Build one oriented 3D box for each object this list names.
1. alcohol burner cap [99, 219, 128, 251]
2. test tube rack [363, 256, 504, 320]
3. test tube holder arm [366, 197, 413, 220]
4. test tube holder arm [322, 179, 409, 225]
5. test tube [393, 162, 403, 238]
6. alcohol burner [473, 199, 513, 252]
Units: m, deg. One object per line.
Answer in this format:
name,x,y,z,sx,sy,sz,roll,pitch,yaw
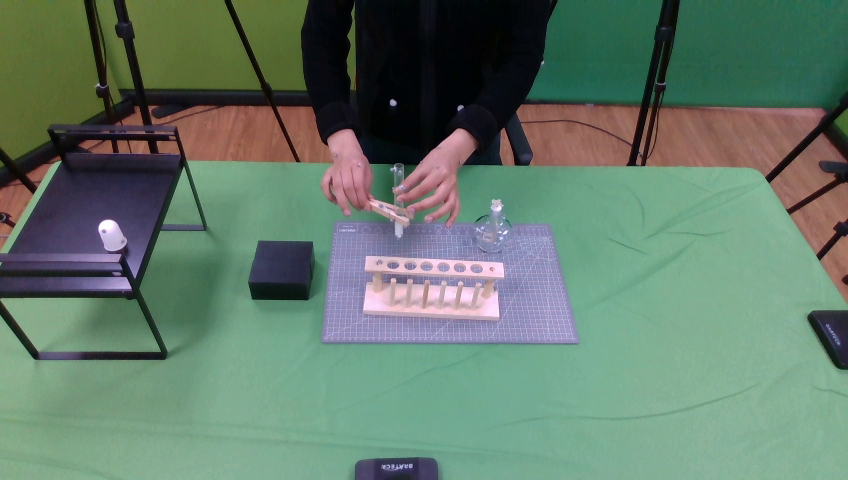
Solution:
alcohol burner cap,-0.467,-0.010,0.907,0.034,0.048,0.033,2,47,-2
test tube rack,0.015,0.085,1.069,0.242,0.085,0.066,3,46,-2
test tube holder arm,-0.060,-0.054,1.026,0.087,0.015,0.010,17,45,12
test tube holder arm,-0.102,-0.066,1.034,0.178,0.015,0.013,24,46,18
test tube,-0.042,-0.062,1.001,0.017,0.151,0.017,1,41,-1
alcohol burner,0.135,-0.034,1.174,0.078,0.120,0.077,1,47,-1
